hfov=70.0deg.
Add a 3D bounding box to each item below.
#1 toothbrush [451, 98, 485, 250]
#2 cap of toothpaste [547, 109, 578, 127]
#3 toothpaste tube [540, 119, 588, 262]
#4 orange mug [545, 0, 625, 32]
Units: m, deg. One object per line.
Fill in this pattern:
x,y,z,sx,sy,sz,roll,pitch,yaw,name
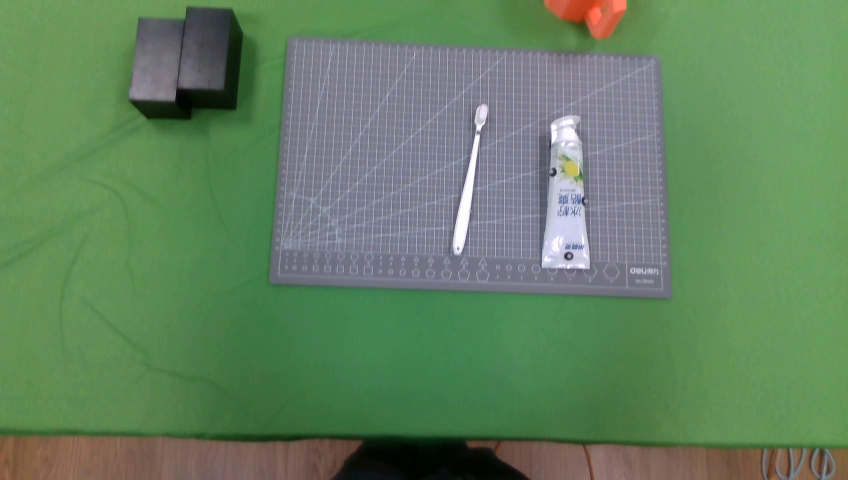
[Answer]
0.051,-0.078,0.691,0.014,0.016,0.181,13,80,-15,toothbrush
0.160,-0.139,0.698,0.037,0.037,0.011,-10,77,-5,cap of toothpaste
0.158,-0.058,0.688,0.055,0.034,0.164,0,83,4,toothpaste tube
0.194,-0.313,0.705,0.083,0.101,0.125,-19,76,-6,orange mug
